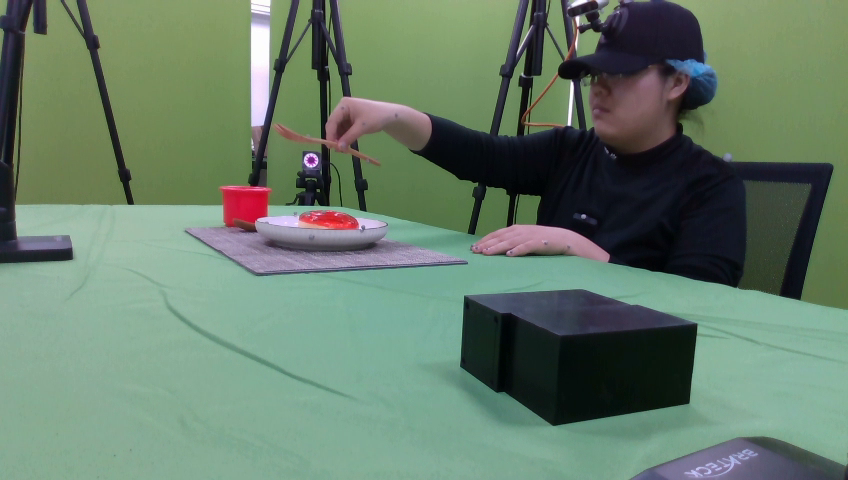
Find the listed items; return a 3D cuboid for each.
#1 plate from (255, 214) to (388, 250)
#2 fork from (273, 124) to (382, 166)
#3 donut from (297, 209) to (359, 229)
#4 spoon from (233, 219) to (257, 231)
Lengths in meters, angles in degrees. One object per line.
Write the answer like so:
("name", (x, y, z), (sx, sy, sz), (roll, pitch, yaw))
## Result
("plate", (-0.161, -0.013, 0.961), (0.209, 0.038, 0.209), (2, 7, 0))
("fork", (-0.151, -0.153, 0.990), (0.208, 0.018, 0.028), (11, -16, -41))
("donut", (-0.151, -0.023, 0.955), (0.099, 0.048, 0.099), (6, 7, 0))
("spoon", (-0.250, -0.028, 1.108), (0.195, 0.021, 0.041), (-2, -9, -29))
